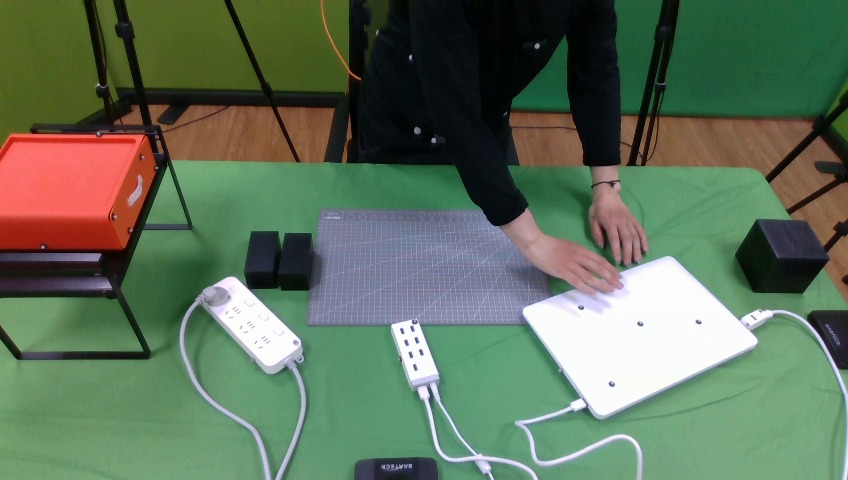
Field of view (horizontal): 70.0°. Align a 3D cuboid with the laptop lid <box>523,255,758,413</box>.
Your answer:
[{"bbox_3d":[0.380,0.149,1.070,0.357,0.013,0.240,-16,48,-19],"label":"laptop lid"}]

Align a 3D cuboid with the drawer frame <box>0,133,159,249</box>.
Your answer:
[{"bbox_3d":[-0.553,-0.078,0.942,0.214,0.083,0.200,-1,47,-4],"label":"drawer frame"}]

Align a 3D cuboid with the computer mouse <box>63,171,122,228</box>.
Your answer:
[{"bbox_3d":[-0.522,-0.067,0.955,0.063,0.041,0.116,1,49,-9],"label":"computer mouse"}]

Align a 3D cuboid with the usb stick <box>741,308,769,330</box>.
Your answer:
[{"bbox_3d":[0.586,0.146,1.087,0.059,0.027,0.021,-22,50,-15],"label":"usb stick"}]

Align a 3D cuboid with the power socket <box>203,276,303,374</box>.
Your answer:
[{"bbox_3d":[-0.296,0.141,1.034,0.225,0.033,0.072,37,55,27],"label":"power socket"}]

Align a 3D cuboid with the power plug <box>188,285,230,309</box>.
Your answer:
[{"bbox_3d":[-0.370,0.103,1.039,0.072,0.053,0.035,-26,53,-23],"label":"power plug"}]

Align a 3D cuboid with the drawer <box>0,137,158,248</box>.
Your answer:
[{"bbox_3d":[-0.549,-0.079,0.944,0.212,0.073,0.193,1,47,-4],"label":"drawer"}]

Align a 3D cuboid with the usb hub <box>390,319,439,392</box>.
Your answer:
[{"bbox_3d":[-0.016,0.190,1.013,0.049,0.025,0.124,-11,48,-15],"label":"usb hub"}]

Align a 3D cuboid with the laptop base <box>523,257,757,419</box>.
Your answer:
[{"bbox_3d":[0.380,0.159,1.078,0.355,0.023,0.234,-17,47,-20],"label":"laptop base"}]
